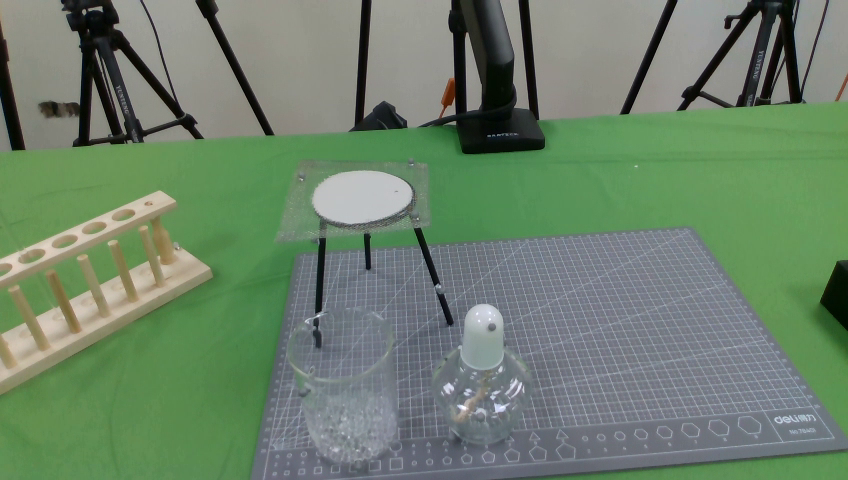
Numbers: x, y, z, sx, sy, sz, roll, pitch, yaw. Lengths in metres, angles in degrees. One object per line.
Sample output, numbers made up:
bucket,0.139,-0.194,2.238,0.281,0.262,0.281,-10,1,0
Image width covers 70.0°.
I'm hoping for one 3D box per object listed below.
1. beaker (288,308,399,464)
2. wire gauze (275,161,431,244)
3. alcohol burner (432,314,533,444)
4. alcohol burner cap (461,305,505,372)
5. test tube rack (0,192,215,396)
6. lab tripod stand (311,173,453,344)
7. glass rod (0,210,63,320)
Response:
beaker,-0.058,0.110,0.453,0.083,0.101,0.074,25,44,34
wire gauze,-0.056,-0.037,0.515,0.121,0.011,0.124,-2,36,0
alcohol burner,0.044,0.097,0.453,0.078,0.120,0.077,-1,38,1
alcohol burner cap,0.043,0.067,0.432,0.034,0.048,0.033,0,37,0
test tube rack,-0.332,0.048,0.574,0.066,0.086,0.242,26,44,35
lab tripod stand,-0.044,0.015,0.556,0.148,0.132,0.147,0,34,1
glass rod,-0.369,-0.006,0.538,0.008,0.201,0.008,-6,33,4
